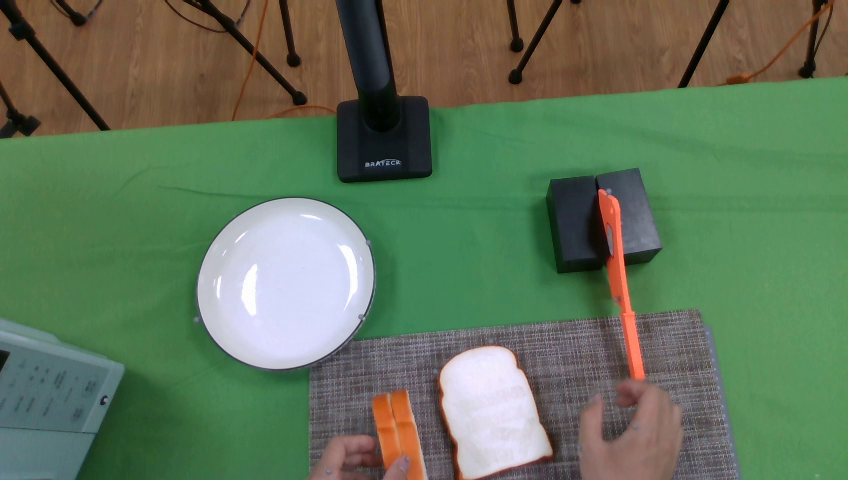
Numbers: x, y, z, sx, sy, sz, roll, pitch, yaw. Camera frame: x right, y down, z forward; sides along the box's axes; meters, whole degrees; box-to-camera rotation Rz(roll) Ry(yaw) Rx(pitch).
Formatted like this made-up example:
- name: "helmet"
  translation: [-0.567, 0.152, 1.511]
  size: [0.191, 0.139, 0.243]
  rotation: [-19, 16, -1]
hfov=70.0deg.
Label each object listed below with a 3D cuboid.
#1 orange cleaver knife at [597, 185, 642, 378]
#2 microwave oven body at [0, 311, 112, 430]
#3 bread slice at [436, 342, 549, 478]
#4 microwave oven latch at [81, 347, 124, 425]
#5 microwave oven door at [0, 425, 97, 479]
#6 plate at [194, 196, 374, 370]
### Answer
- name: "orange cleaver knife"
  translation: [0.213, 0.043, 0.668]
  size: [0.012, 0.077, 0.211]
  rotation: [-9, 92, 3]
- name: "microwave oven body"
  translation: [-0.562, 0.250, 0.545]
  size: [0.325, 0.262, 0.439]
  rotation: [16, 74, 8]
- name: "bread slice"
  translation: [0.071, 0.180, 0.662]
  size: [0.107, 0.018, 0.133]
  rotation: [-12, 80, -6]
- name: "microwave oven latch"
  translation: [-0.361, 0.161, 0.665]
  size: [0.030, 0.030, 0.079]
  rotation: [18, 74, 9]
- name: "microwave oven door"
  translation: [-0.436, 0.325, 0.507]
  size: [0.039, 0.245, 0.354]
  rotation: [16, 73, 9]
- name: "plate"
  translation: [-0.160, 0.050, 0.711]
  size: [0.207, 0.039, 0.206]
  rotation: [-1, 71, 3]
